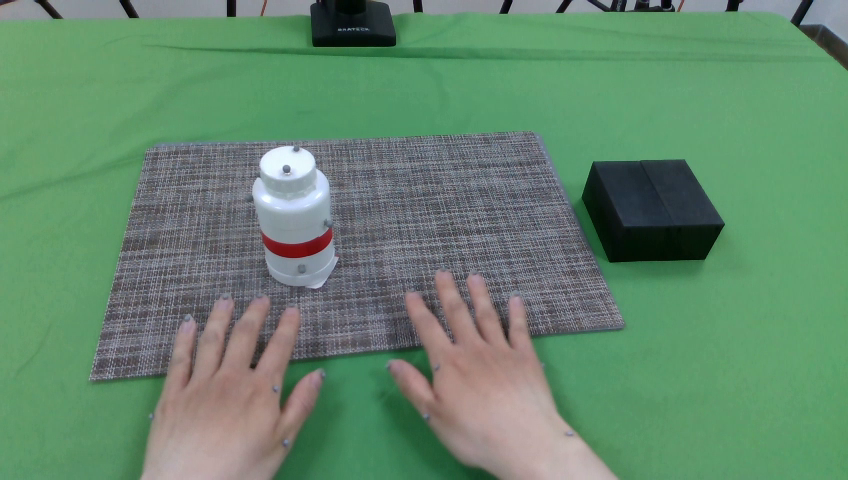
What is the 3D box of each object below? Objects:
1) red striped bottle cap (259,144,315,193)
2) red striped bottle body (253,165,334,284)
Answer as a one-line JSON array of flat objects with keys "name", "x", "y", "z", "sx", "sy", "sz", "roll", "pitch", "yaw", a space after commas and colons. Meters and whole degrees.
[{"name": "red striped bottle cap", "x": -0.111, "y": -0.059, "z": 0.490, "sx": 0.044, "sy": 0.018, "sz": 0.044, "roll": 5, "pitch": 45, "yaw": -4}, {"name": "red striped bottle body", "x": -0.113, "y": -0.022, "z": 0.529, "sx": 0.063, "sy": 0.120, "sz": 0.062, "roll": 3, "pitch": 46, "yaw": -2}]
